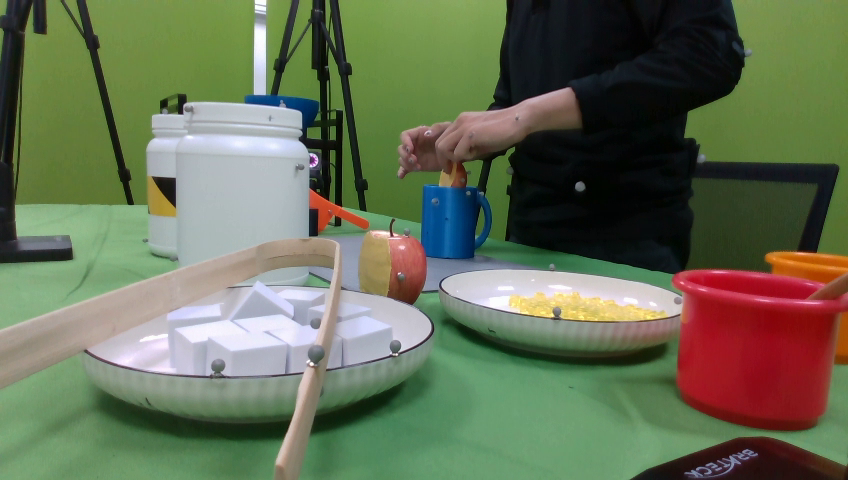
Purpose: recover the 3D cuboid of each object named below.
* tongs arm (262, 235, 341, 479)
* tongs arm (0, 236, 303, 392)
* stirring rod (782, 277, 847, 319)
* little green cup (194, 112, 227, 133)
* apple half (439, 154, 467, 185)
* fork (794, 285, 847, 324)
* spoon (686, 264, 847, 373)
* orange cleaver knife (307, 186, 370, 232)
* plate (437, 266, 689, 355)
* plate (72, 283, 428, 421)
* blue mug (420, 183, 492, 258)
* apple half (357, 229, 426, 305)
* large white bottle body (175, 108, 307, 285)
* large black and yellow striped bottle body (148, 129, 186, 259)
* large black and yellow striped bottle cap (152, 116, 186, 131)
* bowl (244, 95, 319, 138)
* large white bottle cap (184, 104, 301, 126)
[{"bbox_3d":[-0.074,0.039,0.349,0.051,0.026,0.384,-1,9,-3],"label":"tongs arm"},{"bbox_3d":[-0.157,0.037,0.351,0.028,0.028,0.388,-3,8,12],"label":"tongs arm"},{"bbox_3d":[0.344,0.019,0.461,0.014,0.006,0.176,-13,-27,-30],"label":"stirring rod"},{"bbox_3d":[-0.412,-0.228,1.171,0.061,0.038,0.061,2,8,0],"label":"little green cup"},{"bbox_3d":[0.046,-0.090,0.898,0.033,0.081,0.081,6,7,-12],"label":"apple half"},{"bbox_3d":[0.332,0.018,0.443,0.028,0.018,0.207,-1,-36,-15],"label":"fork"},{"bbox_3d":[0.214,0.032,0.328,0.042,0.021,0.193,-3,-35,-26],"label":"spoon"},{"bbox_3d":[-0.197,-0.056,1.141,0.212,0.077,0.012,29,0,-34],"label":"orange cleaver knife"},{"bbox_3d":[0.114,0.057,0.517,0.209,0.038,0.209,3,7,0],"label":"plate"},{"bbox_3d":[-0.102,0.066,0.381,0.208,0.039,0.207,2,7,0],"label":"plate"},{"bbox_3d":[0.052,-0.032,0.912,0.117,0.106,0.082,-1,8,-24],"label":"blue mug"},{"bbox_3d":[-0.026,0.028,0.570,0.053,0.074,0.080,3,2,-28],"label":"apple half"},{"bbox_3d":[-0.188,-0.042,0.630,0.131,0.184,0.130,2,8,0],"label":"large white bottle body"},{"bbox_3d":[-0.310,-0.073,0.838,0.131,0.184,0.130,2,8,0],"label":"large black and yellow striped bottle body"},{"bbox_3d":[-0.309,-0.155,0.826,0.115,0.019,0.115,3,6,0],"label":"large black and yellow striped bottle cap"},{"bbox_3d":[-0.293,-0.251,1.249,0.151,0.077,0.151,2,8,0],"label":"bowl"},{"bbox_3d":[-0.184,-0.126,0.618,0.115,0.018,0.115,2,8,0],"label":"large white bottle cap"}]
